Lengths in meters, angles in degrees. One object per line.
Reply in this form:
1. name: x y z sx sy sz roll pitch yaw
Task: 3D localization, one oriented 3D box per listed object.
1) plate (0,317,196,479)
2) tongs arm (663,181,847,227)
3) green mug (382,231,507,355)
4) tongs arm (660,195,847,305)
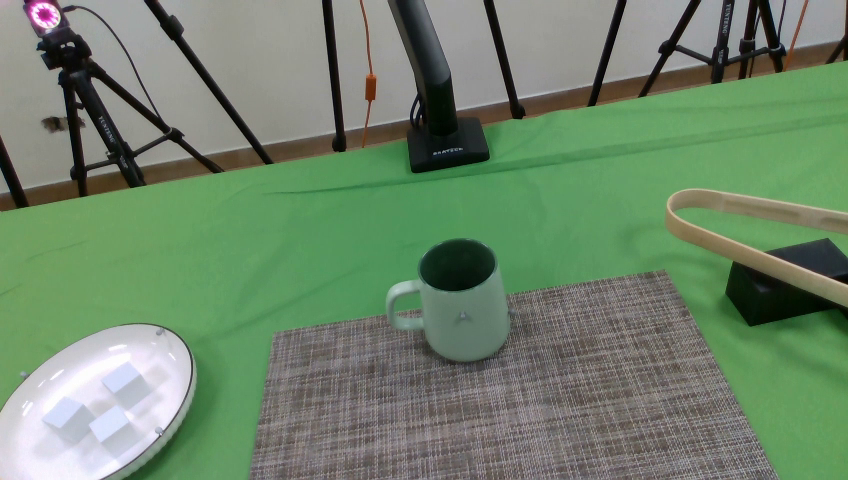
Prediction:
1. plate: -0.337 0.169 0.630 0.209 0.038 0.207 -6 41 6
2. tongs arm: 0.433 -0.006 0.586 0.382 0.027 0.050 18 53 29
3. green mug: 0.020 0.058 0.617 0.125 0.106 0.091 -10 42 1
4. tongs arm: 0.386 0.042 0.546 0.383 0.028 0.028 30 63 37
